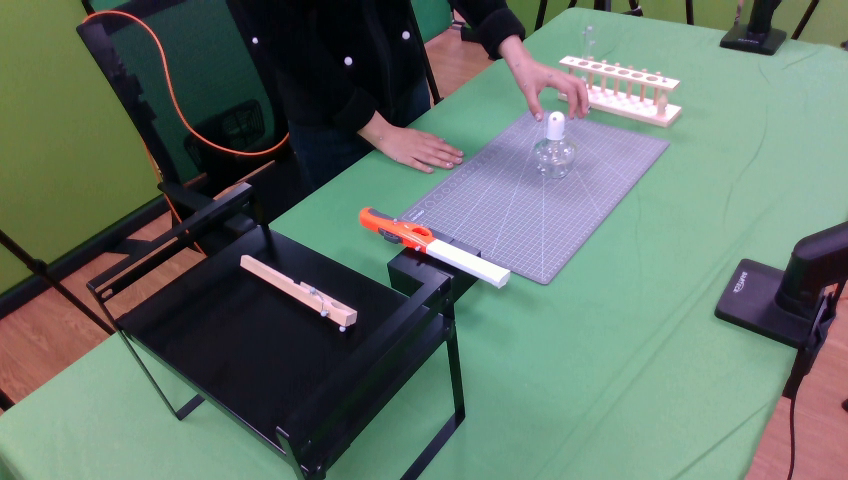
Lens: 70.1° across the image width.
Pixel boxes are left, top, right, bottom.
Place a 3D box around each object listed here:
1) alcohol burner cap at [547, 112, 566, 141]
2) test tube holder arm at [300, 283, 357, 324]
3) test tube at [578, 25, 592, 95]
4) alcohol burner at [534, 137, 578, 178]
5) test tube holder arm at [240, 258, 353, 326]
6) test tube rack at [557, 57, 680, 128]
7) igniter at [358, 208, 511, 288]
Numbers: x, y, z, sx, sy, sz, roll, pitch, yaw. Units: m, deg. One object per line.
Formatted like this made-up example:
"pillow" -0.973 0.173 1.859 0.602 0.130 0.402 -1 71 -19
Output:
"alcohol burner cap" 0.229 -0.198 1.042 0.034 0.048 0.033 -3 39 3
"test tube holder arm" -0.105 0.067 0.638 0.087 0.015 0.010 21 14 33
"test tube" 0.326 -0.362 1.227 0.017 0.151 0.017 -3 44 4
"alcohol burner" 0.232 -0.170 1.065 0.078 0.119 0.077 -5 39 5
"test tube holder arm" -0.143 0.053 0.658 0.177 0.015 0.013 21 14 32
"test tube rack" 0.395 -0.309 1.230 0.240 0.085 0.067 26 51 33
"igniter" 0.005 0.005 0.892 0.274 0.025 0.057 24 38 31
